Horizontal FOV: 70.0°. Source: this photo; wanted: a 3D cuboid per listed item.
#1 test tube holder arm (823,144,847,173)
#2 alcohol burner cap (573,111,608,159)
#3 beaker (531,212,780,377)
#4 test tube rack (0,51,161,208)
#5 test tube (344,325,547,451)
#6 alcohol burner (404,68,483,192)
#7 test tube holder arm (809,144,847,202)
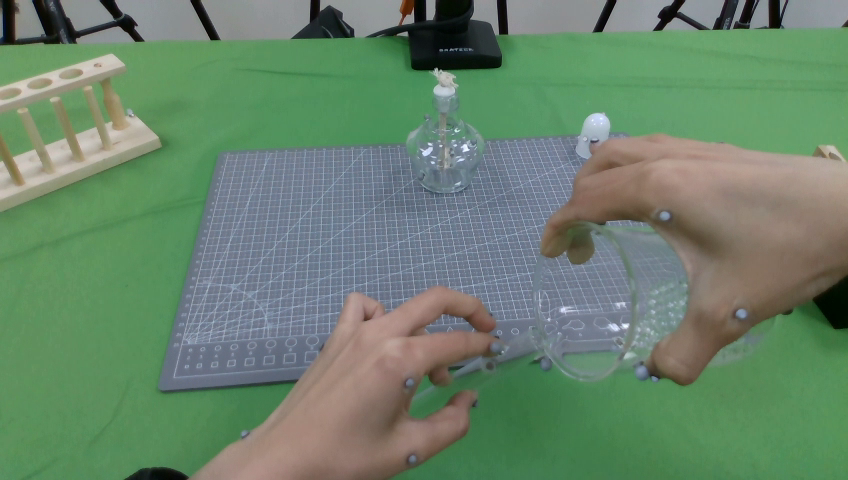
[{"bbox_3d":[0.376,-0.025,0.506,0.013,0.015,0.176,-6,43,4],"label":"test tube holder arm"},{"bbox_3d":[0.178,-0.114,0.643,0.034,0.048,0.033,1,43,0],"label":"alcohol burner cap"},{"bbox_3d":[0.114,0.029,0.302,0.101,0.084,0.073,1,54,-24],"label":"beaker"},{"bbox_3d":[-0.394,-0.095,0.583,0.242,0.086,0.066,-32,52,-30],"label":"test tube rack"},{"bbox_3d":[0.006,0.088,0.346,0.017,0.150,0.017,37,32,-28],"label":"test tube"},{"bbox_3d":[0.018,-0.107,0.580,0.078,0.120,0.077,-1,42,1],"label":"alcohol burner"},{"bbox_3d":[0.369,-0.055,0.538,0.010,0.015,0.087,-6,43,4],"label":"test tube holder arm"}]
